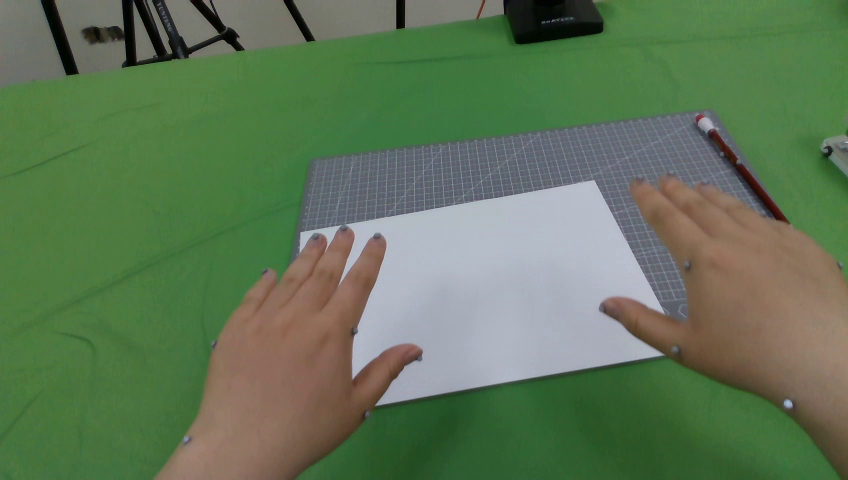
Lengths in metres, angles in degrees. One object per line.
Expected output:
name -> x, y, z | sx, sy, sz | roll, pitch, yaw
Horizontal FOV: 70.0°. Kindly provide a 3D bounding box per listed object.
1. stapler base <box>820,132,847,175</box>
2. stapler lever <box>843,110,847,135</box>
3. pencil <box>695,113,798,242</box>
stapler base -> 0.414, -0.063, 0.548 | 0.041, 0.025, 0.129 | -11, 45, 2
stapler lever -> 0.411, -0.080, 0.528 | 0.027, 0.040, 0.117 | -11, 46, 2
pencil -> 0.303, -0.065, 0.575 | 0.012, 0.012, 0.192 | -10, 45, 1
